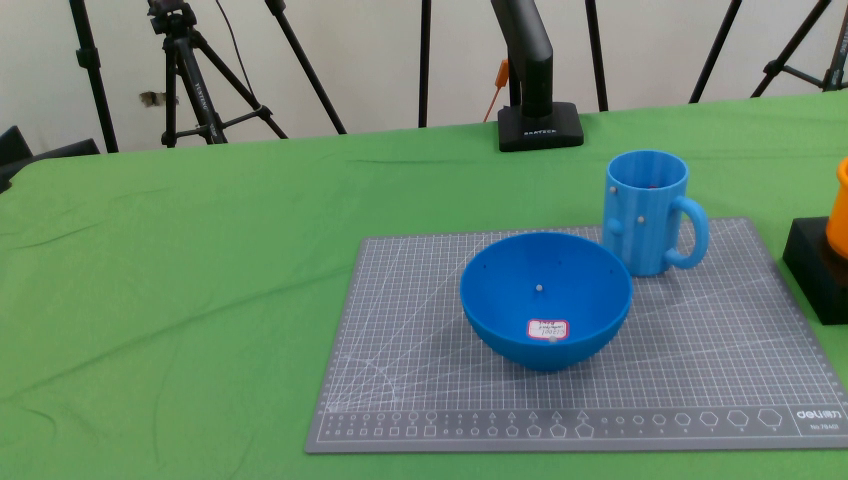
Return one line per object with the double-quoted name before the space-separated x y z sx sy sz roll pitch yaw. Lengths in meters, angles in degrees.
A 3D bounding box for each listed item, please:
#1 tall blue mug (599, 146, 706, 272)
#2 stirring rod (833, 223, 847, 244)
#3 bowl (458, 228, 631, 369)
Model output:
"tall blue mug" 0.236 -0.028 0.621 0.106 0.109 0.077 14 43 27
"stirring rod" 0.431 -0.058 0.518 0.176 0.006 0.014 -46 33 22
"bowl" 0.109 0.064 0.556 0.151 0.077 0.150 -6 38 5
